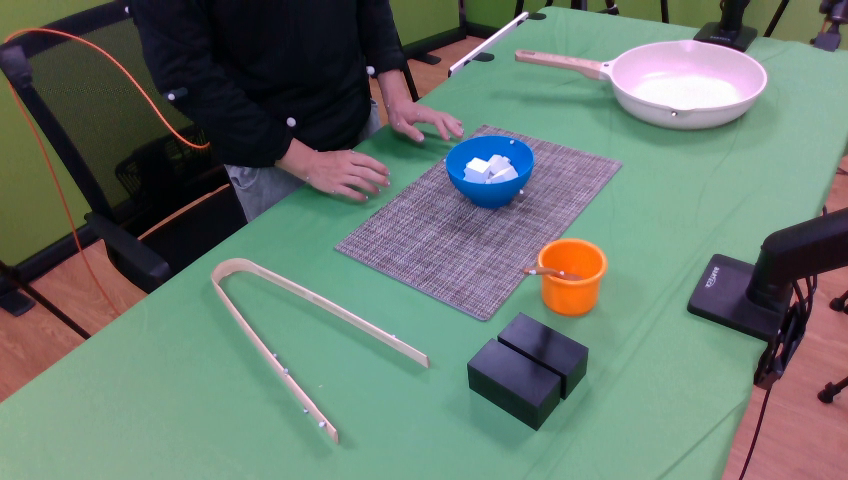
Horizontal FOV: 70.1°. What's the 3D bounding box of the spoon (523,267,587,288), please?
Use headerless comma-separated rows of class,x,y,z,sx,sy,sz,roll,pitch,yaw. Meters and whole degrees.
spoon,0.170,0.046,0.793,0.041,0.195,0.021,20,92,33

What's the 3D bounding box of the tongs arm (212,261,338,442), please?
tongs arm,-0.208,0.136,0.830,0.051,0.026,0.381,-31,45,-28

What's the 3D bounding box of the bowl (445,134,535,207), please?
bowl,0.113,-0.109,1.029,0.151,0.077,0.150,-4,40,4

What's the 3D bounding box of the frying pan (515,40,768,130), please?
frying pan,0.423,-0.337,1.236,0.486,0.103,0.307,16,44,13

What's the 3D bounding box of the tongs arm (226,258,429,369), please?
tongs arm,-0.150,0.098,0.873,0.384,0.028,0.028,22,50,30
